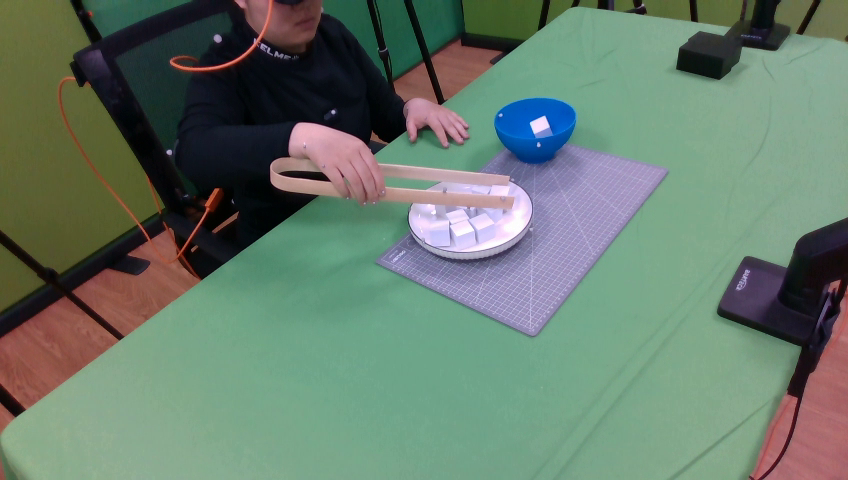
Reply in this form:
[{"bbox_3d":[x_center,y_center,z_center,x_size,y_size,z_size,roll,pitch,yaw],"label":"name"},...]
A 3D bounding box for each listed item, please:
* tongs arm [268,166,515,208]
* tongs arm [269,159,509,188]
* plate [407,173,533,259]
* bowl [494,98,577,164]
[{"bbox_3d":[-0.047,-0.081,0.950,0.386,0.026,0.050,2,41,-11],"label":"tongs arm"},{"bbox_3d":[-0.050,-0.104,0.977,0.389,0.028,0.028,2,44,-11],"label":"tongs arm"},{"bbox_3d":[0.076,-0.037,0.997,0.207,0.039,0.206,-5,40,5],"label":"plate"},{"bbox_3d":[0.207,-0.196,1.128,0.151,0.077,0.150,-5,40,5],"label":"bowl"}]
